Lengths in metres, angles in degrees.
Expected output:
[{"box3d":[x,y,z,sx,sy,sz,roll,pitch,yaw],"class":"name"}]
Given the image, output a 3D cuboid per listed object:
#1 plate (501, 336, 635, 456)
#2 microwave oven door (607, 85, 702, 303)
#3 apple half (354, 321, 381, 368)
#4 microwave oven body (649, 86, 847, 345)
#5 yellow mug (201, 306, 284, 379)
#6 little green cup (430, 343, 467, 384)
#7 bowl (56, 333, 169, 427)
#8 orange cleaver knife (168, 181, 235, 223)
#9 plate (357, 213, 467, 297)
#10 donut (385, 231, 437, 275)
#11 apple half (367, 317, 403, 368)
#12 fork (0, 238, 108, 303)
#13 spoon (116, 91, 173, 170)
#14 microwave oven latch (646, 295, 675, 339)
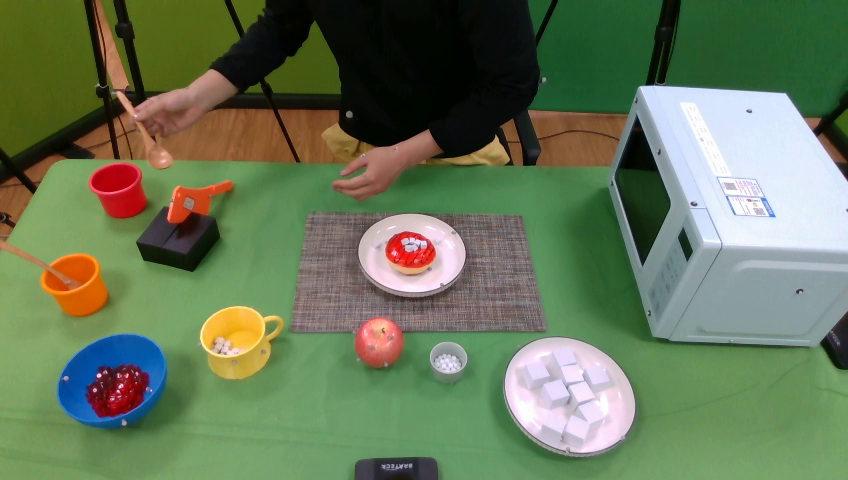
[{"box3d":[0.225,0.248,0.963,0.208,0.039,0.206,2,46,-2],"class":"plate"},{"box3d":[0.423,-0.094,1.140,0.039,0.245,0.353,2,46,-1],"class":"microwave oven door"},{"box3d":[-0.097,0.176,0.985,0.033,0.081,0.080,-12,48,-20],"class":"apple half"},{"box3d":[0.568,-0.053,1.118,0.326,0.261,0.439,2,45,-1],"class":"microwave oven body"},{"box3d":[-0.291,0.160,0.993,0.131,0.064,0.099,-23,51,-25],"class":"yellow mug"},{"box3d":[0.039,0.203,0.993,0.061,0.039,0.061,2,46,-2],"class":"little green cup"},{"box3d":[-0.456,0.223,0.911,0.151,0.077,0.150,3,46,-2],"class":"bowl"},{"box3d":[-0.436,-0.078,1.196,0.012,0.077,0.211,15,15,10],"class":"orange cleaver knife"},{"box3d":[-0.023,0.032,1.150,0.209,0.038,0.208,2,46,-2],"class":"plate"},{"box3d":[-0.024,0.024,1.142,0.099,0.048,0.098,3,44,-3],"class":"donut"},{"box3d":[-0.061,0.167,0.998,0.053,0.075,0.080,-11,44,-20],"class":"apple half"},{"box3d":[-0.633,0.048,1.017,0.208,0.018,0.028,40,41,-27],"class":"fork"},{"box3d":[-0.526,-0.206,1.132,0.041,0.021,0.193,-28,80,-27],"class":"spoon"},{"box3d":[0.412,0.134,1.061,0.030,0.029,0.078,4,45,1],"class":"microwave oven latch"}]
